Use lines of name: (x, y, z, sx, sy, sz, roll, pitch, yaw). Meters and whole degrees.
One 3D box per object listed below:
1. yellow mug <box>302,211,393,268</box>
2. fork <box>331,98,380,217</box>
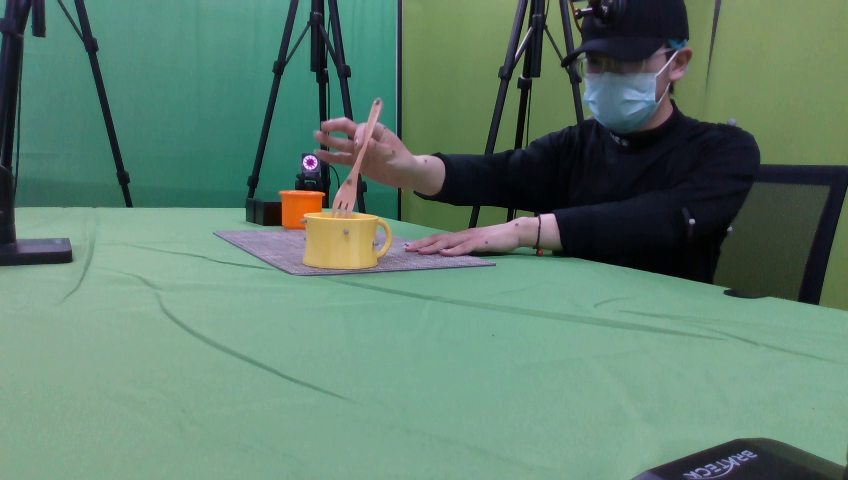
yellow mug: (-0.098, -0.003, 0.810, 0.131, 0.064, 0.099, -2, 8, -37)
fork: (-0.092, -0.115, 0.842, 0.028, 0.207, 0.018, 20, -22, -12)
